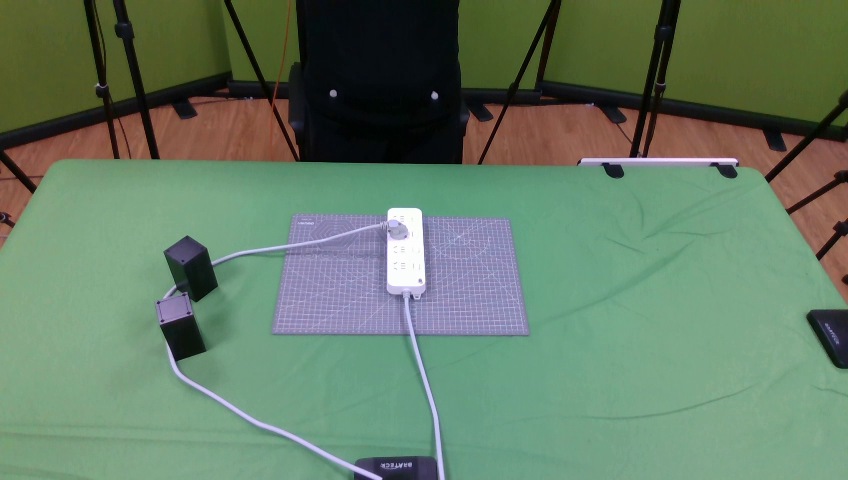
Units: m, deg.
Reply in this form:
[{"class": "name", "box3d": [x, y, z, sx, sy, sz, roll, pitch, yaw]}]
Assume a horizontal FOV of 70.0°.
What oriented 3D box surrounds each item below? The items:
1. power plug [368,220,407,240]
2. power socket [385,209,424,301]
[{"class": "power plug", "box3d": [-0.068, -0.017, 1.172, 0.072, 0.053, 0.035, 7, 45, 5]}, {"class": "power socket", "box3d": [-0.039, 0.019, 1.165, 0.072, 0.033, 0.225, 0, 46, -3]}]
